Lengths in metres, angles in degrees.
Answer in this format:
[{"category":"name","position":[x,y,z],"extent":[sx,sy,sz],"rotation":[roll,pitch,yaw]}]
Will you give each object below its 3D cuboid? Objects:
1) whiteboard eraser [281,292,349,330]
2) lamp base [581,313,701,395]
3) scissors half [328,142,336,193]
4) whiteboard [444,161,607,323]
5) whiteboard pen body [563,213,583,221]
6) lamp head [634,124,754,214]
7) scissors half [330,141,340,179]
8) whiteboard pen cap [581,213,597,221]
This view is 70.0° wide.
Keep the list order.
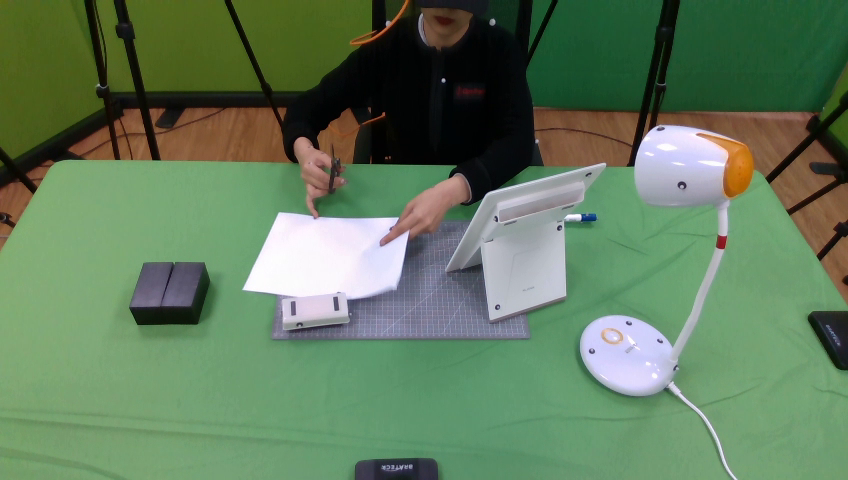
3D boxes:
[{"category":"whiteboard eraser","position":[-0.189,0.124,1.045],"extent":[0.113,0.042,0.055],"rotation":[-6,46,-10]},{"category":"lamp base","position":[0.361,0.144,0.972],"extent":[0.178,0.181,0.160],"rotation":[34,53,23]},{"category":"scissors half","position":[-0.178,-0.139,1.164],"extent":[0.013,0.176,0.040],"rotation":[9,63,-4]},{"category":"whiteboard","position":[0.186,0.025,1.029],"extent":[0.217,0.306,0.143],"rotation":[-14,68,-18]},{"category":"whiteboard pen body","position":[0.283,-0.047,1.257],"extent":[0.141,0.017,0.017],"rotation":[-1,46,-2]},{"category":"lamp head","position":[0.351,-0.089,0.776],"extent":[0.112,0.113,0.122],"rotation":[-30,30,-28]},{"category":"scissors half","position":[-0.174,-0.158,1.170],"extent":[0.013,0.175,0.040],"rotation":[15,79,-3]},{"category":"whiteboard pen cap","position":[0.342,-0.048,1.260],"extent":[0.033,0.018,0.018],"rotation":[-3,46,-3]}]
